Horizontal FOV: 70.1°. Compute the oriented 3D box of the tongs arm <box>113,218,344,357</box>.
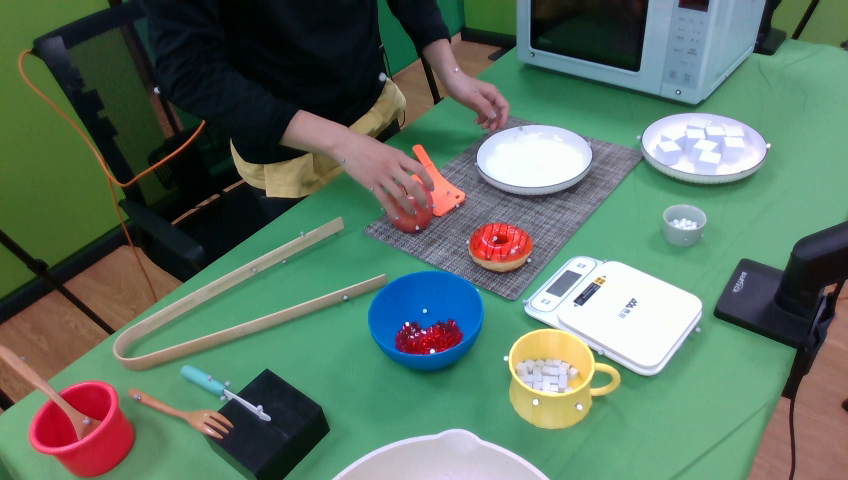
[{"bbox_3d":[-0.280,0.066,0.926,0.386,0.026,0.050,-28,48,-23],"label":"tongs arm"}]

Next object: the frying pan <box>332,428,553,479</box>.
[{"bbox_3d":[-0.089,0.306,0.564,0.487,0.103,0.306,10,41,7],"label":"frying pan"}]

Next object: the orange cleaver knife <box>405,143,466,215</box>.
[{"bbox_3d":[0.005,-0.114,1.102,0.077,0.012,0.209,-24,45,-9],"label":"orange cleaver knife"}]

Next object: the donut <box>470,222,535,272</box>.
[{"bbox_3d":[0.119,0.009,0.923,0.099,0.048,0.098,-4,38,3],"label":"donut"}]

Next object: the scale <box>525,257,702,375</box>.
[{"bbox_3d":[0.254,0.091,0.821,0.199,0.032,0.149,28,51,35],"label":"scale"}]

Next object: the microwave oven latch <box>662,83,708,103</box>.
[{"bbox_3d":[0.518,-0.296,1.204,0.078,0.029,0.030,28,52,35],"label":"microwave oven latch"}]

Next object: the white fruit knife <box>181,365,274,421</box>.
[{"bbox_3d":[-0.246,0.187,0.747,0.205,0.027,0.016,9,41,40],"label":"white fruit knife"}]

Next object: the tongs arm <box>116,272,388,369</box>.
[{"bbox_3d":[-0.236,0.113,0.868,0.389,0.028,0.028,-18,48,-13],"label":"tongs arm"}]

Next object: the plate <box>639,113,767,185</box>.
[{"bbox_3d":[0.489,-0.157,1.074,0.207,0.039,0.206,-4,40,4],"label":"plate"}]

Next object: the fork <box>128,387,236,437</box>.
[{"bbox_3d":[-0.305,0.207,0.744,0.206,0.019,0.028,3,41,36],"label":"fork"}]

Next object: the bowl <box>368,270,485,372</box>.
[{"bbox_3d":[0.007,0.118,0.791,0.151,0.077,0.150,-4,40,4],"label":"bowl"}]

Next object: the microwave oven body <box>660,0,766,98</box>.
[{"bbox_3d":[0.472,-0.513,1.317,0.438,0.261,0.327,26,51,34],"label":"microwave oven body"}]

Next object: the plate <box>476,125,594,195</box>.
[{"bbox_3d":[0.199,-0.141,1.093,0.209,0.038,0.208,-4,40,4],"label":"plate"}]

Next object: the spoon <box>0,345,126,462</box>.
[{"bbox_3d":[-0.434,0.192,0.720,0.194,0.021,0.042,47,54,-7],"label":"spoon"}]

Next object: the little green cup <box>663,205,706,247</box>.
[{"bbox_3d":[0.396,-0.020,0.926,0.061,0.039,0.061,-4,40,4],"label":"little green cup"}]

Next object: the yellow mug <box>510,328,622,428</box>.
[{"bbox_3d":[0.169,0.164,0.722,0.130,0.064,0.099,0,40,8],"label":"yellow mug"}]

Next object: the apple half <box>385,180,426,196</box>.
[{"bbox_3d":[-0.028,-0.072,1.016,0.081,0.081,0.032,-10,44,-2],"label":"apple half"}]

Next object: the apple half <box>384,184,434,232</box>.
[{"bbox_3d":[-0.022,-0.046,0.987,0.081,0.075,0.053,-8,43,-5],"label":"apple half"}]

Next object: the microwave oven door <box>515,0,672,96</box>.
[{"bbox_3d":[0.343,-0.454,1.259,0.353,0.245,0.039,26,51,33],"label":"microwave oven door"}]
